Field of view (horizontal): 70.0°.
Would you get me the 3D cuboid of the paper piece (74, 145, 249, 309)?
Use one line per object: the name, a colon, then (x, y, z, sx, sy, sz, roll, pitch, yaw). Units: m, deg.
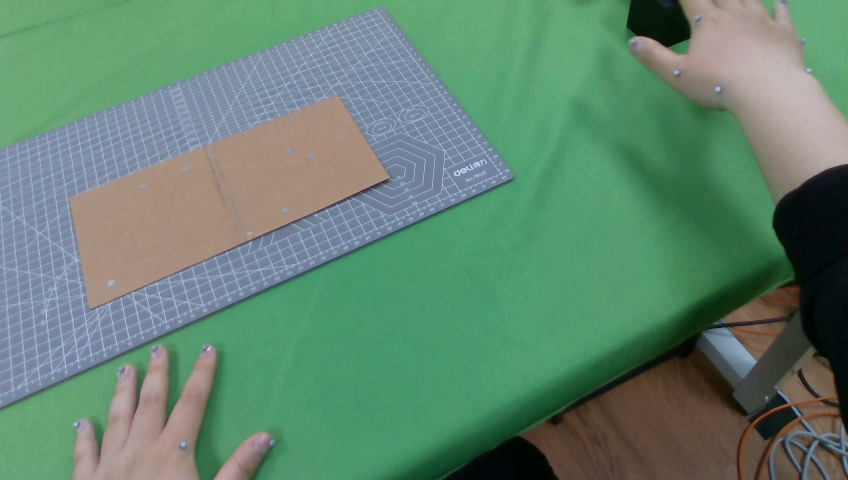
paper piece: (-0.237, -0.020, 0.538, 0.138, 0.009, 0.134, -25, 52, -9)

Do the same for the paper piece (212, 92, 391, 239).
paper piece: (-0.117, -0.076, 0.561, 0.135, 0.004, 0.134, -25, 55, -9)
